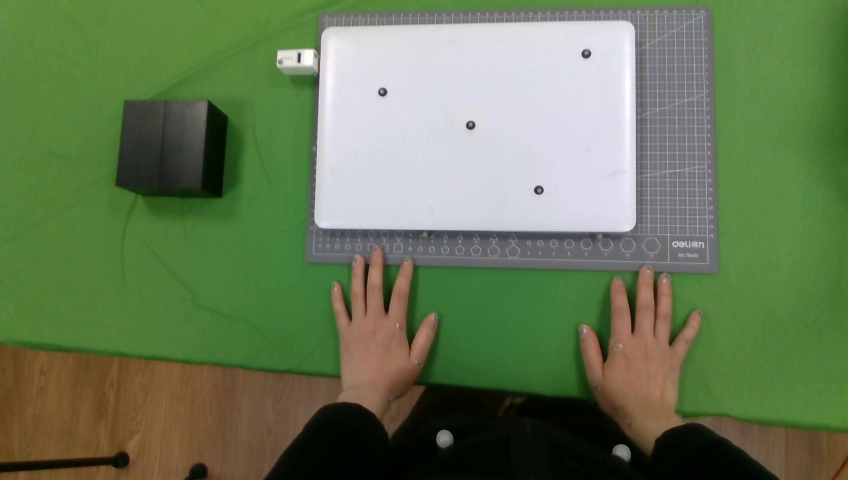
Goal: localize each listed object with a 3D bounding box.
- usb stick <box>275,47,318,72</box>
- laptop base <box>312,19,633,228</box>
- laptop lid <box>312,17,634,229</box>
[{"bbox_3d":[-0.140,-0.208,0.700,0.059,0.027,0.021,1,83,7],"label":"usb stick"},{"bbox_3d":[0.052,-0.130,0.681,0.354,0.023,0.235,1,86,6],"label":"laptop base"},{"bbox_3d":[0.051,-0.129,0.669,0.356,0.013,0.241,2,85,6],"label":"laptop lid"}]
